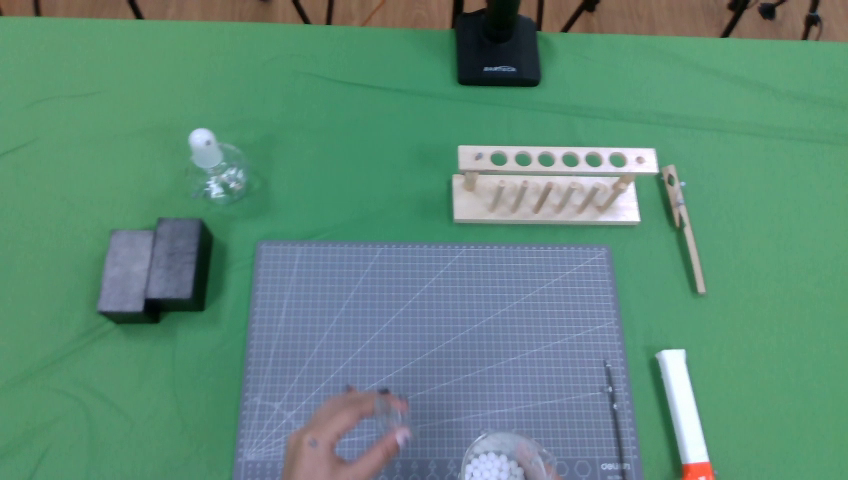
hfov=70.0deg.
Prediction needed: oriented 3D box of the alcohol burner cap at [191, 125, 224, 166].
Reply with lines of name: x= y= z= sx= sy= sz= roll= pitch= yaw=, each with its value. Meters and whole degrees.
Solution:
alcohol burner cap: x=-0.252 y=-0.113 z=0.702 sx=0.034 sy=0.048 sz=0.033 roll=4 pitch=61 yaw=-7

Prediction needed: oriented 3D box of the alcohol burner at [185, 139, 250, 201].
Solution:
alcohol burner: x=-0.254 y=-0.097 z=0.734 sx=0.078 sy=0.120 sz=0.077 roll=1 pitch=66 yaw=-1

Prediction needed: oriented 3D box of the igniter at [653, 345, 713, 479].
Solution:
igniter: x=0.301 y=0.255 z=0.676 sx=0.057 sy=0.025 sz=0.274 roll=1 pitch=67 yaw=-14

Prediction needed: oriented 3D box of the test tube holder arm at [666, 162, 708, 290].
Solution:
test tube holder arm: x=0.343 y=-0.021 z=0.793 sx=0.013 sy=0.015 sz=0.177 roll=-19 pitch=66 yaw=27

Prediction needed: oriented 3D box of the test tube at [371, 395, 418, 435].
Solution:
test tube: x=-0.023 y=0.155 z=0.529 sx=0.017 sy=0.151 sz=0.017 roll=-3 pitch=66 yaw=7

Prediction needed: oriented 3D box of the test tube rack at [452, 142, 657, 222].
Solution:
test tube rack: x=0.161 y=-0.071 z=0.767 sx=0.242 sy=0.085 sz=0.066 roll=1 pitch=68 yaw=-3

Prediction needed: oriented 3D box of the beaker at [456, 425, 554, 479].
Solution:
beaker: x=0.067 y=0.210 z=0.536 sx=0.084 sy=0.101 sz=0.073 roll=-16 pitch=63 yaw=-10

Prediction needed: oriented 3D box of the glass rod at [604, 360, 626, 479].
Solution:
glass rod: x=0.219 y=0.234 z=0.685 sx=0.008 sy=0.008 sz=0.198 roll=0 pitch=68 yaw=-4

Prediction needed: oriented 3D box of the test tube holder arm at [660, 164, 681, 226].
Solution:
test tube holder arm: x=0.332 y=-0.061 z=0.811 sx=0.010 sy=0.015 sz=0.087 roll=-19 pitch=67 yaw=27
